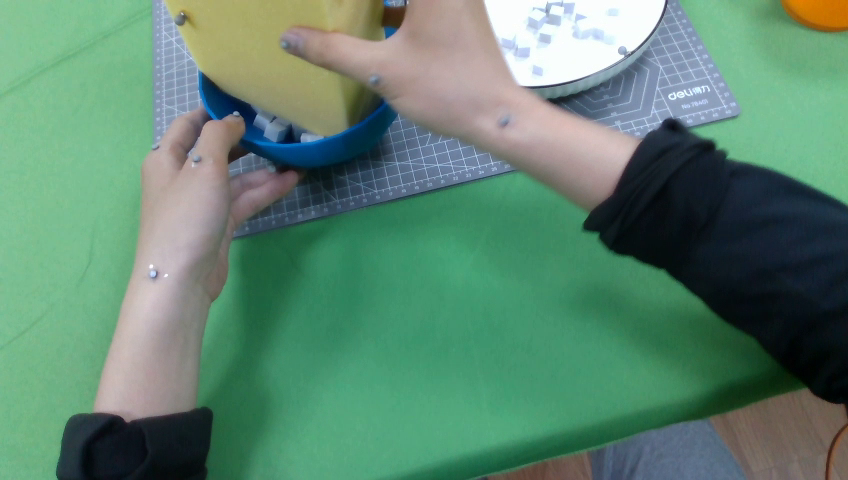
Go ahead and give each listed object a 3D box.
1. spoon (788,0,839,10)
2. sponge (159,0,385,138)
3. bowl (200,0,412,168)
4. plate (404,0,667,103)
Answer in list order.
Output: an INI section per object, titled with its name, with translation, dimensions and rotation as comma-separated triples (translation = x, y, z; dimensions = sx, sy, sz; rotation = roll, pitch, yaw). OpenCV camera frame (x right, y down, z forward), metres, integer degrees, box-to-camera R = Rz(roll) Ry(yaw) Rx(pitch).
[spoon]
translation = 0.358, -0.239, 0.432
dimensions = 0.022, 0.194, 0.041
rotation = 4, 58, -42
[sponge]
translation = -0.088, -0.145, 0.348
dimensions = 0.118, 0.208, 0.060
rotation = 21, 71, 5
[bowl]
translation = -0.078, -0.107, 0.453
dimensions = 0.151, 0.077, 0.150
rotation = -3, 63, 6
[plate]
translation = 0.088, -0.193, 0.499
dimensions = 0.209, 0.038, 0.207
rotation = -3, 64, 5
